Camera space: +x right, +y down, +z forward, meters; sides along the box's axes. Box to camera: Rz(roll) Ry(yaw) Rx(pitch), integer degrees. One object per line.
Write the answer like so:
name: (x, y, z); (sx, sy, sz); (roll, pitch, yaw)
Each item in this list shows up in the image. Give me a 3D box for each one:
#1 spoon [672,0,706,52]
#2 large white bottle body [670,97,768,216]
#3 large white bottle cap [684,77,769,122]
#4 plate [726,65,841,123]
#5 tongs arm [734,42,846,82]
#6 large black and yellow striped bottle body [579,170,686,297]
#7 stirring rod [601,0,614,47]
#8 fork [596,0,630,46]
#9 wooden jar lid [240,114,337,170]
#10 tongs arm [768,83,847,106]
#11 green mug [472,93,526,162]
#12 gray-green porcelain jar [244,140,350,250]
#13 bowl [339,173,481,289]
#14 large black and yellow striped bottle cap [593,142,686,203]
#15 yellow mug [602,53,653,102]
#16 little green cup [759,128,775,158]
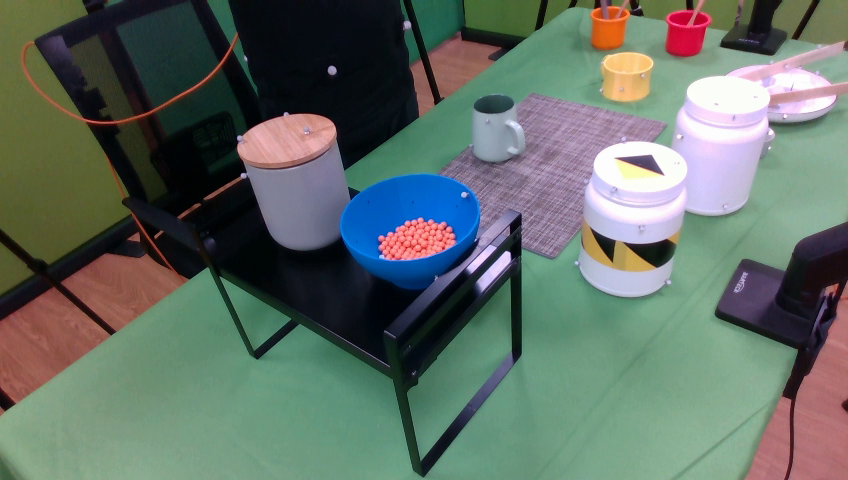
spoon: (0.629, -0.520, 1.394); (0.041, 0.022, 0.193); (30, 96, 34)
large white bottle body: (0.458, -0.146, 0.952); (0.130, 0.185, 0.130); (-4, 40, 4)
large white bottle cap: (0.448, -0.210, 0.898); (0.115, 0.018, 0.114); (-4, 40, 4)
plate: (0.694, -0.282, 1.189); (0.207, 0.039, 0.206); (-4, 40, 4)
tongs arm: (0.708, -0.331, 1.193); (0.386, 0.026, 0.050); (-18, 45, -15)
large black and yellow striped bottle body: (0.287, -0.027, 0.841); (0.131, 0.185, 0.130); (-4, 40, 4)
stirring rod: (0.439, -0.552, 1.463); (0.014, 0.006, 0.175); (-7, 83, 3)
fork: (0.481, -0.556, 1.453); (0.028, 0.019, 0.207); (40, 103, 38)
wooden jar lid: (-0.149, -0.106, 0.673); (0.108, 0.021, 0.108); (-6, 39, 5)
tongs arm: (0.734, -0.280, 1.133); (0.388, 0.028, 0.028); (-9, 47, -5)
green mug: (0.144, -0.202, 1.122); (0.093, 0.105, 0.124); (-29, 45, -23)
gray-green porcelain jar: (-0.144, -0.060, 0.714); (0.106, 0.127, 0.105); (-4, 41, 4)
bowl: (-0.011, 0.001, 0.660); (0.151, 0.077, 0.150); (-5, 41, 5)
large black and yellow striped bottle cap: (0.280, -0.090, 0.786); (0.115, 0.019, 0.114); (-5, 41, 5)
yellow mug: (0.423, -0.354, 1.293); (0.100, 0.064, 0.129); (-23, 42, -16)
little green cup: (0.588, -0.175, 1.080); (0.061, 0.039, 0.061); (-5, 40, 5)
